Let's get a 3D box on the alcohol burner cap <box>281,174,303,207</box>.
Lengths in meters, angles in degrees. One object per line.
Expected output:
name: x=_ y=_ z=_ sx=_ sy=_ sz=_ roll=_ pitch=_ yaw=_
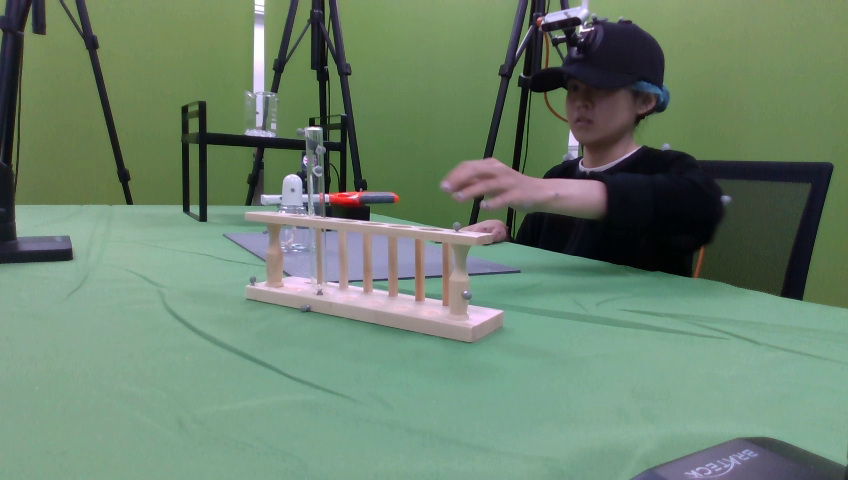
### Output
alcohol burner cap: x=-0.193 y=-0.072 z=0.884 sx=0.034 sy=0.048 sz=0.034 roll=1 pitch=5 yaw=0

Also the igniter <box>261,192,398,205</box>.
igniter: x=-0.185 y=-0.083 z=1.217 sx=0.278 sy=0.025 sz=0.057 roll=-2 pitch=12 yaw=-25

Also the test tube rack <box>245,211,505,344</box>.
test tube rack: x=-0.049 y=0.025 z=0.547 sx=0.241 sy=0.085 sz=0.067 roll=7 pitch=8 yaw=29

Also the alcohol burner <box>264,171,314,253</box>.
alcohol burner: x=-0.194 y=-0.042 z=0.888 sx=0.078 sy=0.119 sz=0.078 roll=3 pitch=5 yaw=0

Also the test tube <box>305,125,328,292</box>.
test tube: x=-0.096 y=-0.027 z=0.546 sx=0.017 sy=0.150 sz=0.017 roll=0 pitch=8 yaw=0

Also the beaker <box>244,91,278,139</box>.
beaker: x=-0.367 y=-0.280 z=1.356 sx=0.074 sy=0.100 sz=0.084 roll=4 pitch=8 yaw=6
